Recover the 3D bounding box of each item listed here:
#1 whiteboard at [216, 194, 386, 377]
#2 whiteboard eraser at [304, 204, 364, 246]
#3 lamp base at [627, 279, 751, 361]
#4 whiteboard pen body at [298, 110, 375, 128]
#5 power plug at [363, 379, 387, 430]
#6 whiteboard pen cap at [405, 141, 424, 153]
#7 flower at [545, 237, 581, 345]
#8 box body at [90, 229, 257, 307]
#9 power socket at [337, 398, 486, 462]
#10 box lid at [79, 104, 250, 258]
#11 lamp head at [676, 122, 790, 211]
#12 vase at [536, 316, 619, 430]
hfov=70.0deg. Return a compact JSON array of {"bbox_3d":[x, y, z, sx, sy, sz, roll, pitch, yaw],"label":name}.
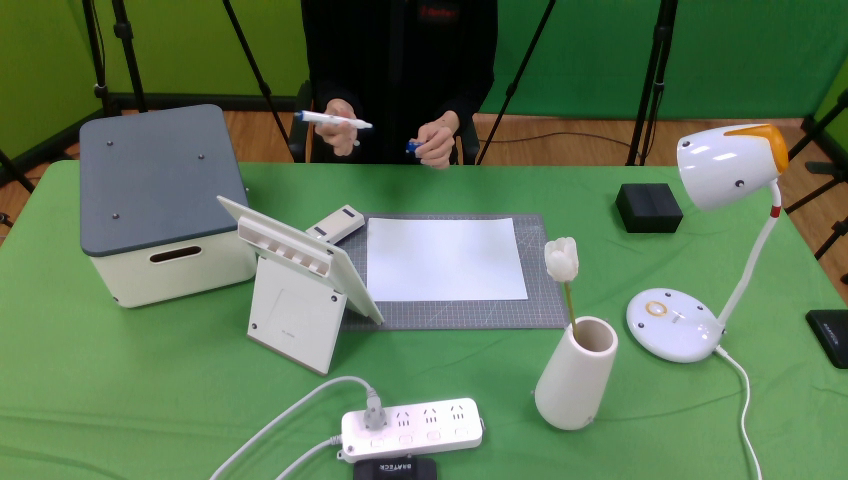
[{"bbox_3d":[-0.212,0.093,0.939,0.216,0.307,0.143,24,70,17],"label":"whiteboard"},{"bbox_3d":[-0.175,-0.022,1.188,0.055,0.042,0.112,36,54,26],"label":"whiteboard eraser"},{"bbox_3d":[0.460,0.100,1.027,0.178,0.181,0.160,27,51,17],"label":"lamp base"},{"bbox_3d":[-0.145,-0.201,1.019,0.141,0.017,0.017,2,42,-34],"label":"whiteboard pen body"},{"bbox_3d":[-0.072,0.252,0.911,0.035,0.053,0.072,3,40,0],"label":"power plug"},{"bbox_3d":[-0.017,-0.169,1.102,0.033,0.018,0.018,7,43,-24],"label":"whiteboard pen cap"},{"bbox_3d":[0.213,0.137,0.846,0.038,0.364,0.044,21,55,40],"label":"flower"},{"bbox_3d":[-0.471,-0.070,1.131,0.254,0.161,0.361,-14,49,-17],"label":"box body"},{"bbox_3d":[-0.018,0.285,0.914,0.227,0.033,0.071,-4,46,-8],"label":"power socket"},{"bbox_3d":[-0.467,-0.121,1.075,0.264,0.015,0.369,-13,49,-17],"label":"box lid"},{"bbox_3d":[0.423,-0.104,0.819,0.122,0.113,0.112,-13,33,40],"label":"lamp head"},{"bbox_3d":[0.229,0.200,0.901,0.098,0.201,0.097,3,46,-3],"label":"vase"}]
